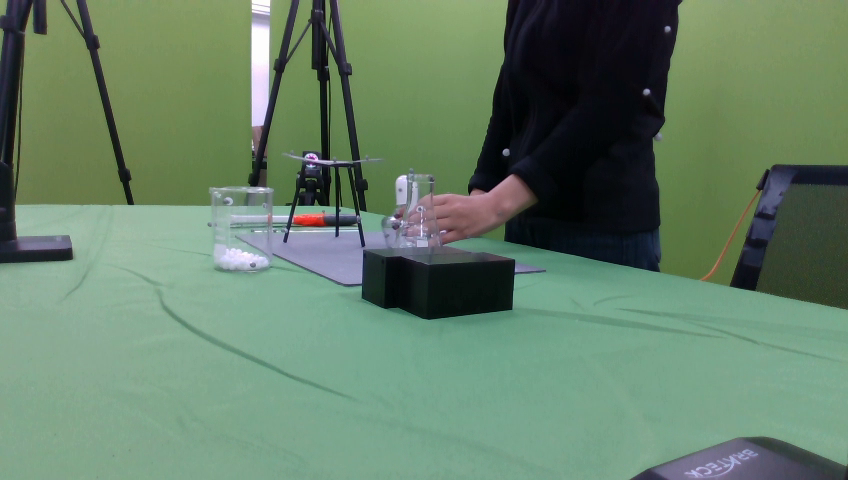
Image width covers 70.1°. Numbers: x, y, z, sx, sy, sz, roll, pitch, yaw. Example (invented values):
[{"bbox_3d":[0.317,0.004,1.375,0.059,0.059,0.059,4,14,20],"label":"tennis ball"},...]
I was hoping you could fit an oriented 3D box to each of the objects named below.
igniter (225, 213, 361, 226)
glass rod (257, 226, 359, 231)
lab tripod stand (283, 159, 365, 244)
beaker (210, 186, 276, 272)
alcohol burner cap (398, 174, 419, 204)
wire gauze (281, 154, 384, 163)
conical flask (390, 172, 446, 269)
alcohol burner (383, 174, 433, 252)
[{"bbox_3d":[-0.257,-0.042,1.221,0.278,0.025,0.057,-2,-2,-32],"label":"igniter"},{"bbox_3d":[-0.216,-0.022,1.151,0.201,0.008,0.008,-2,8,-28],"label":"glass rod"},{"bbox_3d":[-0.151,-0.063,0.983,0.148,0.131,0.148,4,7,0],"label":"lab tripod stand"},{"bbox_3d":[-0.224,-0.014,0.738,0.084,0.100,0.074,4,7,16],"label":"beaker"},{"bbox_3d":[-0.026,-0.078,0.935,0.034,0.048,0.034,-6,2,1],"label":"alcohol burner cap"},{"bbox_3d":[-0.146,-0.130,0.977,0.124,0.011,0.122,9,10,41],"label":"wire gauze"},{"bbox_3d":[-0.006,-0.027,0.790,0.075,0.122,0.075,2,7,0],"label":"conical flask"},{"bbox_3d":[-0.025,-0.042,0.939,0.078,0.119,0.078,0,5,0],"label":"alcohol burner"}]
